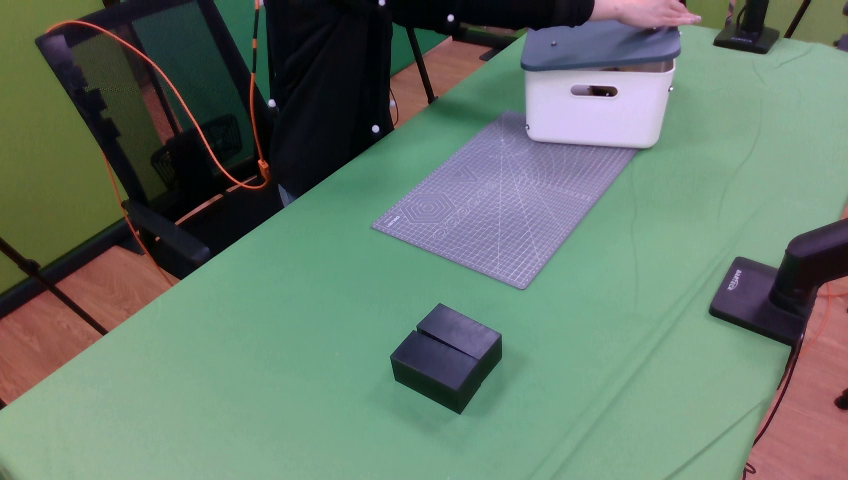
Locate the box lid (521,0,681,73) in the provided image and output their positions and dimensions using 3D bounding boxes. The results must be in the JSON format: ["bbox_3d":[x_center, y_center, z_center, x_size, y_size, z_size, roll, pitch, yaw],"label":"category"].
[{"bbox_3d":[0.330,-0.409,1.132,0.262,0.015,0.370,0,42,17],"label":"box lid"}]

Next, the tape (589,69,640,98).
[{"bbox_3d":[0.396,-0.303,1.238,0.117,0.053,0.116,-5,40,4],"label":"tape"}]

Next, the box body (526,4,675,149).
[{"bbox_3d":[0.356,-0.342,1.212,0.253,0.161,0.363,7,42,17],"label":"box body"}]
